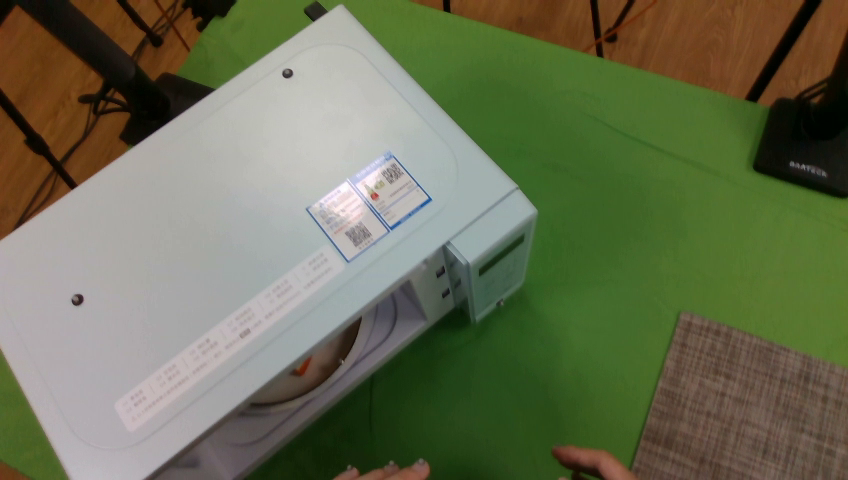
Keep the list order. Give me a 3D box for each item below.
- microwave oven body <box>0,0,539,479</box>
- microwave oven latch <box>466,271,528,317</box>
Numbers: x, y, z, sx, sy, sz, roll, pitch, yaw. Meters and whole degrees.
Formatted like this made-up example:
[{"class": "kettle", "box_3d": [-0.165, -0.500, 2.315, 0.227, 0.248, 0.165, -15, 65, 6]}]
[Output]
[{"class": "microwave oven body", "box_3d": [-0.154, 0.027, 0.651, 0.441, 0.262, 0.323, -39, 72, -7]}, {"class": "microwave oven latch", "box_3d": [0.086, 0.057, 0.719, 0.079, 0.030, 0.030, -37, 72, -6]}]
